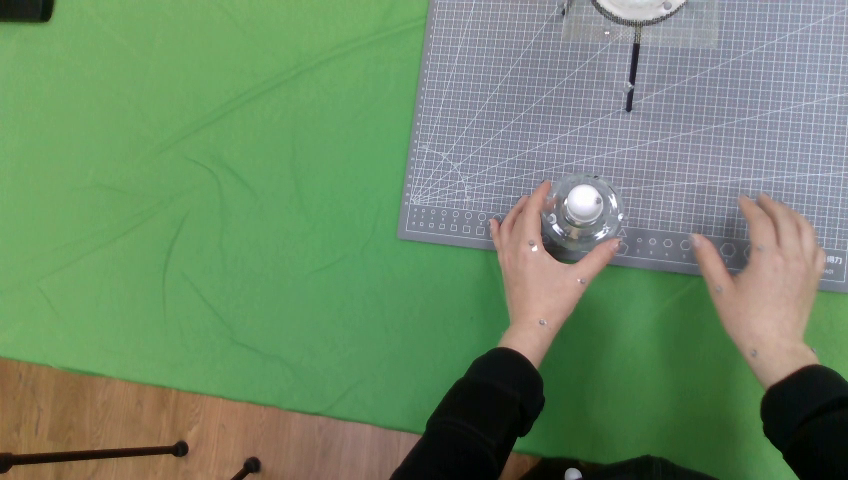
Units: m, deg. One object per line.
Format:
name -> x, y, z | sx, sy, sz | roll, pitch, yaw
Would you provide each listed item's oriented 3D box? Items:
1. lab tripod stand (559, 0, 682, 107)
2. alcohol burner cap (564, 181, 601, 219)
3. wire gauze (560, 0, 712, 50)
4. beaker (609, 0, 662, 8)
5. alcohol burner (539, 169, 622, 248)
lab tripod stand -> 0.194, -0.216, 0.569 | 0.148, 0.132, 0.148 | -1, 85, 11
alcohol burner cap -> 0.140, -0.037, 0.537 | 0.034, 0.048, 0.034 | -1, 86, 15
wire gauze -> 0.180, -0.223, 0.505 | 0.125, 0.011, 0.121 | 7, 89, 10
beaker -> 0.165, -0.230, 0.459 | 0.083, 0.100, 0.074 | 21, 89, 14
alcohol burner -> 0.148, -0.032, 0.572 | 0.078, 0.119, 0.077 | -1, 84, 10
